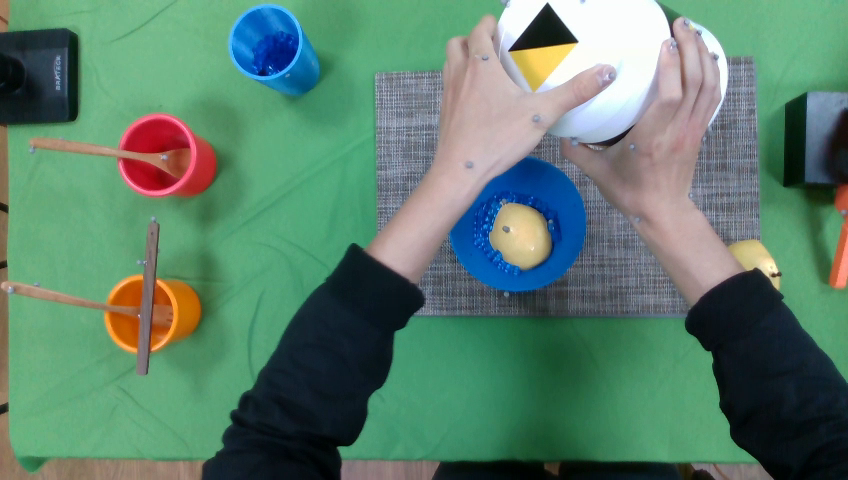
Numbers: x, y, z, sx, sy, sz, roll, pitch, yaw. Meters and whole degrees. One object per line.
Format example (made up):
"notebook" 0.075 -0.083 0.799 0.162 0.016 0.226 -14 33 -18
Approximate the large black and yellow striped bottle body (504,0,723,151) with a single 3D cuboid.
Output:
"large black and yellow striped bottle body" 0.159 -0.154 0.527 0.130 0.185 0.130 -3 85 48

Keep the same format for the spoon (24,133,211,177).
"spoon" -0.350 -0.105 0.706 0.195 0.021 0.041 6 91 -38

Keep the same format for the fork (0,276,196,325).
"fork" -0.369 0.070 0.700 0.209 0.018 0.028 19 100 -38

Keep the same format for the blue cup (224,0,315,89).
"blue cup" -0.172 -0.221 0.712 0.092 0.100 0.092 0 88 8

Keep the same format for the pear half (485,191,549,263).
"pear half" 0.104 -0.018 0.685 0.070 0.031 0.087 -26 83 0

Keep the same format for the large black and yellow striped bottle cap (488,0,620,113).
"large black and yellow striped bottle cap" 0.097 -0.157 0.470 0.114 0.019 0.115 -1 88 49

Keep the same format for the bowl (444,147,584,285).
"bowl" 0.101 -0.024 0.691 0.151 0.077 0.151 0 88 6

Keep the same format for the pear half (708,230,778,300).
"pear half" 0.343 0.030 0.651 0.056 0.110 0.076 -20 83 5

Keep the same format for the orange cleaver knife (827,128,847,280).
"orange cleaver knife" 0.463 -0.058 0.659 0.012 0.077 0.213 1 117 11

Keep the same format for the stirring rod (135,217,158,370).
"stirring rod" -0.318 0.061 0.694 0.014 0.006 0.176 4 90 3
